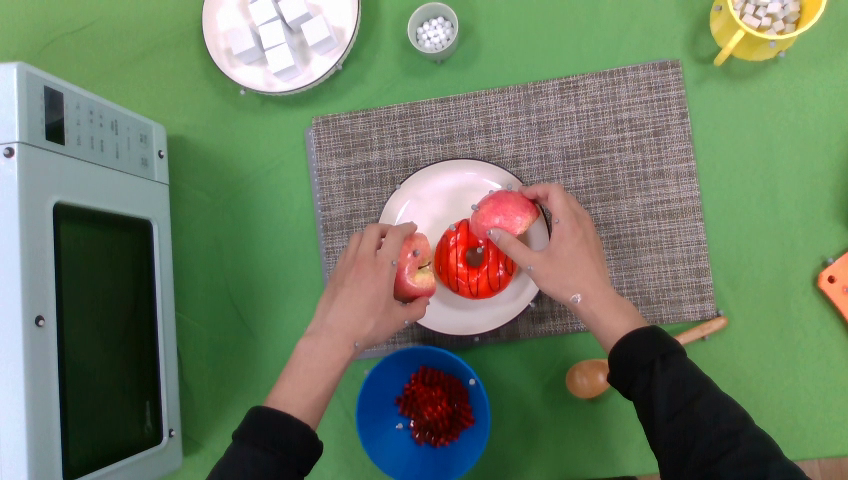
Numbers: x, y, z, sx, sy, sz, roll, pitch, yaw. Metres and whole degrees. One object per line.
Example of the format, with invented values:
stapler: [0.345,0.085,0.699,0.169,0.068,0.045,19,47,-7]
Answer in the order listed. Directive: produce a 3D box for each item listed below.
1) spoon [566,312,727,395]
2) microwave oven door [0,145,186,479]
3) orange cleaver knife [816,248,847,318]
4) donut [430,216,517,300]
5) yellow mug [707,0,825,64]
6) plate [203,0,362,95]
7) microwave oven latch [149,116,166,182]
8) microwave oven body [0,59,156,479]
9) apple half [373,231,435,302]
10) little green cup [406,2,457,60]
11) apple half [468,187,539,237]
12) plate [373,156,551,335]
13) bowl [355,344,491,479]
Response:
spoon: [0.251,0.125,0.684,0.194,0.022,0.041,-25,67,7]
microwave oven door: [-0.347,0.097,0.654,0.039,0.244,0.355,-6,85,9]
orange cleaver knife: [0.495,0.104,0.646,0.077,0.012,0.210,-23,82,2]
donut: [0.057,0.020,0.697,0.099,0.048,0.098,-1,83,7]
yellow mug: [0.362,-0.247,0.665,0.099,0.064,0.131,40,94,9]
plate: [-0.176,-0.283,0.770,0.207,0.039,0.207,-1,87,10]
microwave oven latch: [-0.347,-0.114,0.769,0.030,0.029,0.079,-3,87,9]
microwave oven body: [-0.494,0.069,0.684,0.325,0.261,0.440,-6,86,8]
apple half: [-0.029,0.032,0.681,0.053,0.074,0.081,-11,99,-30]
little green cup: [0.012,-0.251,0.737,0.061,0.039,0.061,-1,86,10]
apple half: [0.085,-0.037,0.661,0.081,0.080,0.033,-18,122,8]
plate: [0.044,0.006,0.713,0.209,0.038,0.208,-1,87,10]
bowl: [0.004,0.190,0.692,0.151,0.077,0.151,-1,86,10]
